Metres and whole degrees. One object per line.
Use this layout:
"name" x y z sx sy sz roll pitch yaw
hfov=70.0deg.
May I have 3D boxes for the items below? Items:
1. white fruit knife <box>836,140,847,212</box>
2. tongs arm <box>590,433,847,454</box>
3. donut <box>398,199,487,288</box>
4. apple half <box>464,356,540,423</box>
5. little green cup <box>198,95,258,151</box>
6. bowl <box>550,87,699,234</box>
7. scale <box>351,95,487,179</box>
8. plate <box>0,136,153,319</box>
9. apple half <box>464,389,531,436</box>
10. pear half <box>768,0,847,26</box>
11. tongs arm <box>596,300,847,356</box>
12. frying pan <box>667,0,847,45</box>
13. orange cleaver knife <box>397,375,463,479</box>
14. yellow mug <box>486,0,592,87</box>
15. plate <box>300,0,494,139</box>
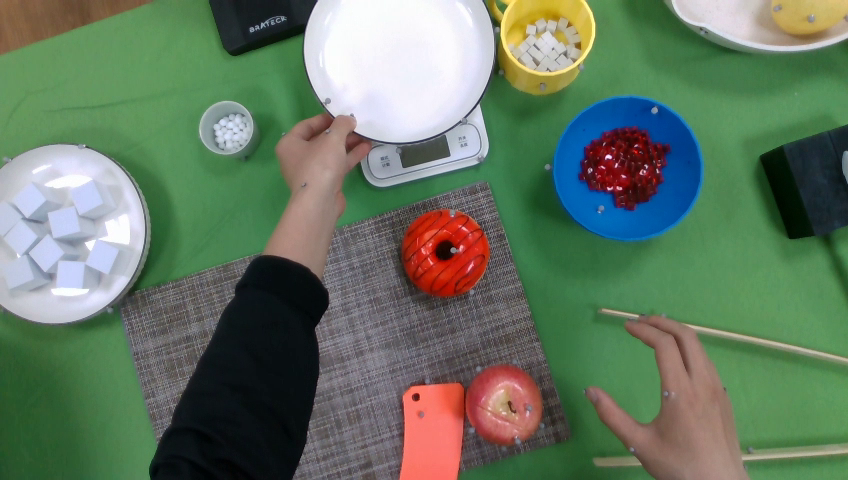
"white fruit knife" 0.458 -0.005 0.635 0.016 0.027 0.208 -20 101 2
"tongs arm" 0.372 0.199 0.649 0.385 0.026 0.050 -2 84 2
"donut" 0.020 0.004 0.669 0.099 0.048 0.099 0 88 4
"apple half" 0.088 0.152 0.643 0.080 0.075 0.053 24 84 8
"little green cup" -0.222 -0.131 0.694 0.061 0.039 0.061 0 86 3
"bowl" 0.205 -0.079 0.652 0.151 0.077 0.151 0 87 3
"scale" -0.019 -0.180 0.691 0.148 0.031 0.200 -14 87 2
"plate" -0.410 -0.014 0.696 0.207 0.039 0.207 0 87 3
"apple half" 0.072 0.187 0.640 0.081 0.081 0.032 25 83 4
"pear half" 0.408 -0.261 0.632 0.076 0.110 0.056 19 88 7
"tongs arm" 0.378 0.113 0.655 0.387 0.028 0.028 13 81 3
"frying pan" 0.445 -0.275 0.638 0.307 0.103 0.485 -45 78 1
"orange cleaver knife" -0.003 0.250 0.667 0.077 0.012 0.211 11 85 -3
"yellow mug" 0.117 -0.238 0.670 0.130 0.064 0.100 40 90 5
"plate" -0.029 -0.211 0.660 0.209 0.038 0.208 0 87 2
